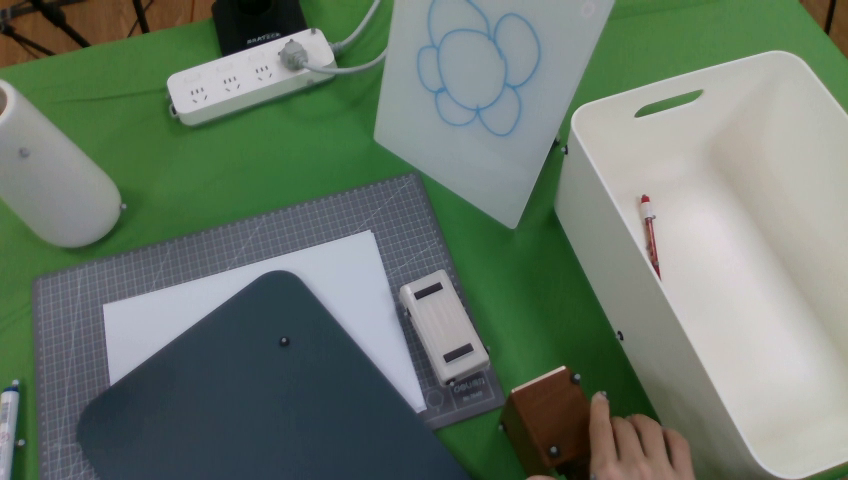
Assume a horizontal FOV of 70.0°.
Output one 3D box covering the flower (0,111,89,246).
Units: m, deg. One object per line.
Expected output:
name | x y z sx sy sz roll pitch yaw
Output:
flower | -0.400 -0.126 0.562 0.038 0.365 0.043 -28 47 -21

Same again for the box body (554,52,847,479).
box body | 0.310 0.025 0.589 0.254 0.161 0.360 -17 64 -8

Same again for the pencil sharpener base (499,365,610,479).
pencil sharpener base | 0.115 0.171 0.548 0.061 0.108 0.076 -22 65 -10

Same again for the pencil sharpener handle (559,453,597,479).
pencil sharpener handle | 0.138 0.205 0.517 0.036 0.068 0.030 -27 65 0

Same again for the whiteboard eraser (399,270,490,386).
whiteboard eraser | 0.020 0.090 0.624 0.055 0.042 0.111 -22 65 -12

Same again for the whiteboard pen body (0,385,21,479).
whiteboard pen body | -0.402 0.207 0.581 0.017 0.017 0.139 -13 60 -5

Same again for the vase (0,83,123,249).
vase | -0.399 -0.070 0.626 0.098 0.201 0.097 -1 62 2

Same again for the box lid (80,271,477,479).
box lid | -0.133 0.220 0.579 0.263 0.015 0.369 -39 70 -17

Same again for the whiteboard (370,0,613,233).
whiteboard | 0.085 -0.201 0.662 0.216 0.307 0.143 35 49 18

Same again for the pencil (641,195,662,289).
pencil | 0.255 0.037 0.665 0.012 0.012 0.192 1 65 2

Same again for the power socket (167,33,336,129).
power socket | -0.222 -0.208 0.788 0.227 0.033 0.071 -22 65 -11

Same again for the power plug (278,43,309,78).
power plug | -0.163 -0.215 0.765 0.035 0.053 0.072 -13 65 -5
